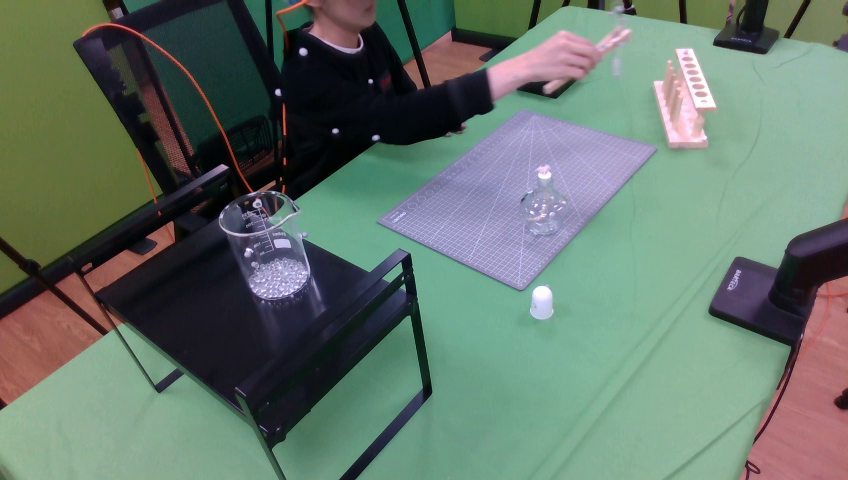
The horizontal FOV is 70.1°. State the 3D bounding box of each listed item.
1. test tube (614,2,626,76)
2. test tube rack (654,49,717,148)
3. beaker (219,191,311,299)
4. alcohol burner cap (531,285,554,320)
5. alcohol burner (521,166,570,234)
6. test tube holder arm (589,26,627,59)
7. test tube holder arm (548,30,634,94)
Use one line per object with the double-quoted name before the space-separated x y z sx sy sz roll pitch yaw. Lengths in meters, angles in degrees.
"test tube" 0.330 -0.335 1.021 0.017 0.151 0.017 -8 57 12
"test tube rack" 0.502 -0.281 1.176 0.066 0.085 0.241 2 41 11
"beaker" -0.164 0.008 0.654 0.084 0.101 0.073 -10 41 -3
"alcohol burner cap" 0.164 0.084 0.838 0.034 0.048 0.033 -4 40 4
"alcohol burner" 0.192 -0.068 0.951 0.078 0.119 0.077 -4 42 4
"test tube holder arm" 0.308 -0.327 1.013 0.088 0.015 0.010 -43 56 -13
"test tube holder arm" 0.277 -0.296 1.002 0.178 0.015 0.013 -36 55 -9
